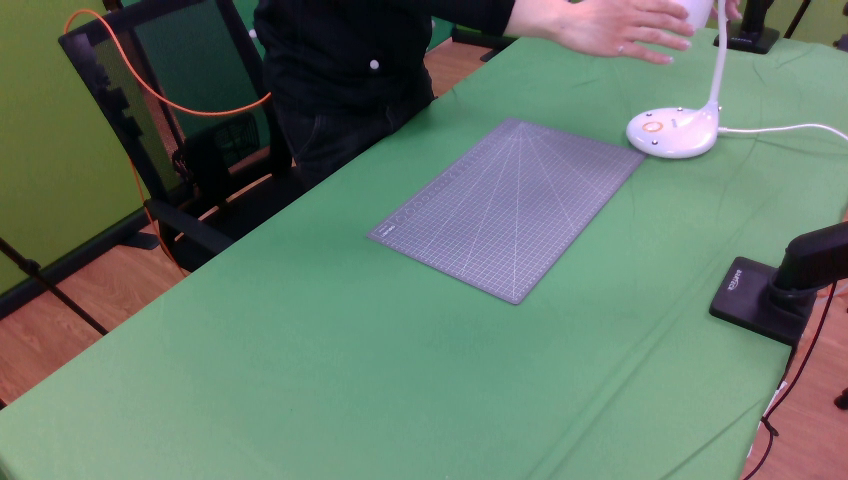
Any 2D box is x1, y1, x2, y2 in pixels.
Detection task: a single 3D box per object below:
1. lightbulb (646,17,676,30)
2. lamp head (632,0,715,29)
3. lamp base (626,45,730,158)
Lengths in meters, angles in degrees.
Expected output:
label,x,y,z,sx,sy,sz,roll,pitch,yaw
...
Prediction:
label,x,y,z,sx,sy,sz,roll,pitch,yaw
lightbulb,0.365,-0.362,0.882,0.060,0.108,0.059,10,39,-7
lamp head,0.376,-0.378,0.868,0.113,0.123,0.112,12,32,-7
lamp base,0.467,-0.262,1.086,0.179,0.181,0.159,-4,41,0
